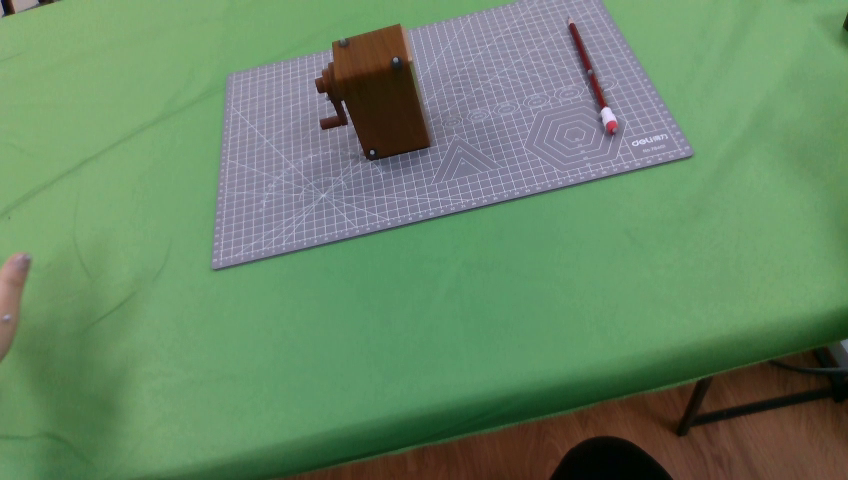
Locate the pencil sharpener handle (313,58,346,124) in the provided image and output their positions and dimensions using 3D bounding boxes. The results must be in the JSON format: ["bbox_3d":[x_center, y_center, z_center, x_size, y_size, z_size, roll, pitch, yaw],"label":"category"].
[{"bbox_3d":[-0.095,-0.137,0.573,0.030,0.068,0.035,-14,55,3],"label":"pencil sharpener handle"}]

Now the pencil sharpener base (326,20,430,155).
[{"bbox_3d":[-0.043,-0.142,0.580,0.076,0.108,0.060,-14,53,3],"label":"pencil sharpener base"}]

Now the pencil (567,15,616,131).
[{"bbox_3d":[0.168,-0.179,0.622,0.012,0.012,0.192,-10,52,6],"label":"pencil"}]
